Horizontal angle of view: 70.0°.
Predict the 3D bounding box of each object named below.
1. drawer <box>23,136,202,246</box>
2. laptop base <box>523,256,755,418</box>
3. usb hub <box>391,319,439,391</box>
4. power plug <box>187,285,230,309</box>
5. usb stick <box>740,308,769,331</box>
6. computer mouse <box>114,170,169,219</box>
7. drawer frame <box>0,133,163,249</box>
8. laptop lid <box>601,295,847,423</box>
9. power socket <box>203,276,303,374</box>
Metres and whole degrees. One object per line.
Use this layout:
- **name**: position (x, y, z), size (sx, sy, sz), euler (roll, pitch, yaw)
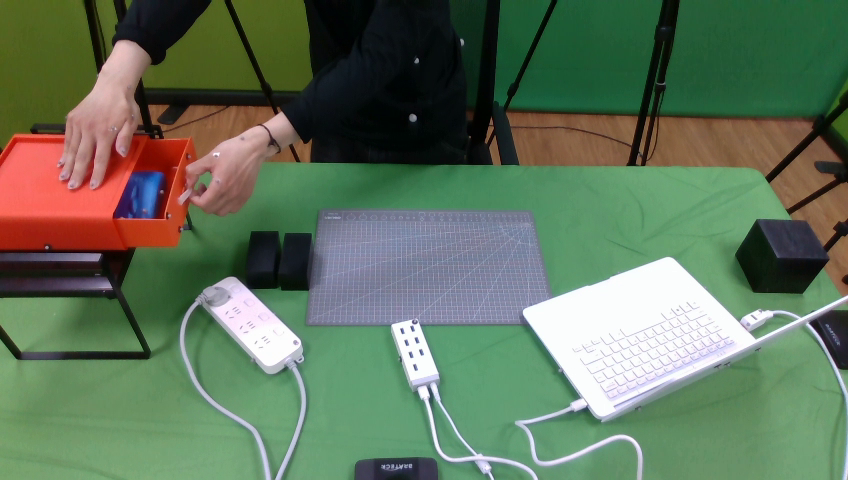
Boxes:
- **drawer**: position (-0.476, -0.080, 0.950), size (0.212, 0.073, 0.193), euler (0, 47, -4)
- **laptop base**: position (0.381, 0.159, 1.077), size (0.355, 0.023, 0.234), euler (-17, 47, -20)
- **usb hub**: position (-0.016, 0.190, 1.013), size (0.049, 0.025, 0.124), euler (-10, 48, -15)
- **power plug**: position (-0.370, 0.103, 1.039), size (0.072, 0.053, 0.035), euler (-25, 53, -23)
- **usb stick**: position (0.587, 0.146, 1.087), size (0.059, 0.027, 0.021), euler (-21, 47, -17)
- **computer mouse**: position (-0.447, -0.069, 0.961), size (0.063, 0.041, 0.116), euler (1, 50, -8)
- **drawer frame**: position (-0.547, -0.078, 0.941), size (0.214, 0.083, 0.200), euler (-1, 47, -4)
- **laptop lid**: position (0.449, 0.180, 0.905), size (0.357, 0.242, 0.013), euler (-17, 64, -20)
- **power socket**: position (-0.296, 0.141, 1.034), size (0.225, 0.033, 0.072), euler (38, 55, 27)
